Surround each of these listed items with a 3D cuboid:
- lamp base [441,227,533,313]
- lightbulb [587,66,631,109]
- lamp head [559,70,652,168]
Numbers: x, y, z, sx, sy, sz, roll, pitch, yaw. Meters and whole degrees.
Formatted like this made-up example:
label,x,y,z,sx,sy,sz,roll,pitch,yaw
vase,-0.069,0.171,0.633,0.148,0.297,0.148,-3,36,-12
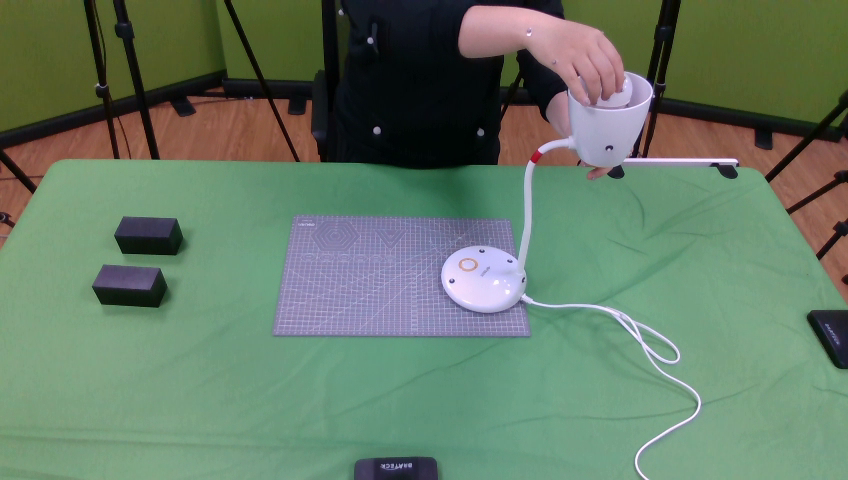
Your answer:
label,x,y,z,sx,sy,sz,roll,pitch,yaw
lamp base,0.126,0.022,1.071,0.179,0.181,0.160,23,49,14
lightbulb,0.256,-0.188,0.847,0.059,0.108,0.059,-5,37,4
lamp head,0.252,-0.164,0.860,0.112,0.123,0.111,0,42,0
